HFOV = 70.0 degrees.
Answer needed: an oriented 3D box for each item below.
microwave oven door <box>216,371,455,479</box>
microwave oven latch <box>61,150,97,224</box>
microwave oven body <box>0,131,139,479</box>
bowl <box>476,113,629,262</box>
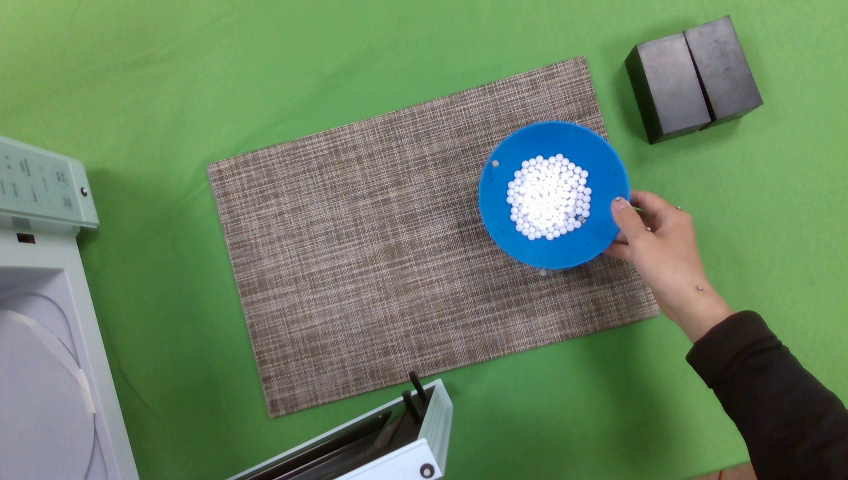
[{"bbox_3d":[-0.141,0.231,0.552,0.356,0.244,0.039,-26,85,2],"label":"microwave oven door"},{"bbox_3d":[-0.397,-0.060,0.681,0.030,0.029,0.079,-18,87,2],"label":"microwave oven latch"},{"bbox_3d":[-0.494,0.148,0.582,0.326,0.260,0.441,-17,87,2],"label":"microwave oven body"},{"bbox_3d":[0.130,-0.051,0.639,0.151,0.077,0.151,0,87,4],"label":"bowl"}]
